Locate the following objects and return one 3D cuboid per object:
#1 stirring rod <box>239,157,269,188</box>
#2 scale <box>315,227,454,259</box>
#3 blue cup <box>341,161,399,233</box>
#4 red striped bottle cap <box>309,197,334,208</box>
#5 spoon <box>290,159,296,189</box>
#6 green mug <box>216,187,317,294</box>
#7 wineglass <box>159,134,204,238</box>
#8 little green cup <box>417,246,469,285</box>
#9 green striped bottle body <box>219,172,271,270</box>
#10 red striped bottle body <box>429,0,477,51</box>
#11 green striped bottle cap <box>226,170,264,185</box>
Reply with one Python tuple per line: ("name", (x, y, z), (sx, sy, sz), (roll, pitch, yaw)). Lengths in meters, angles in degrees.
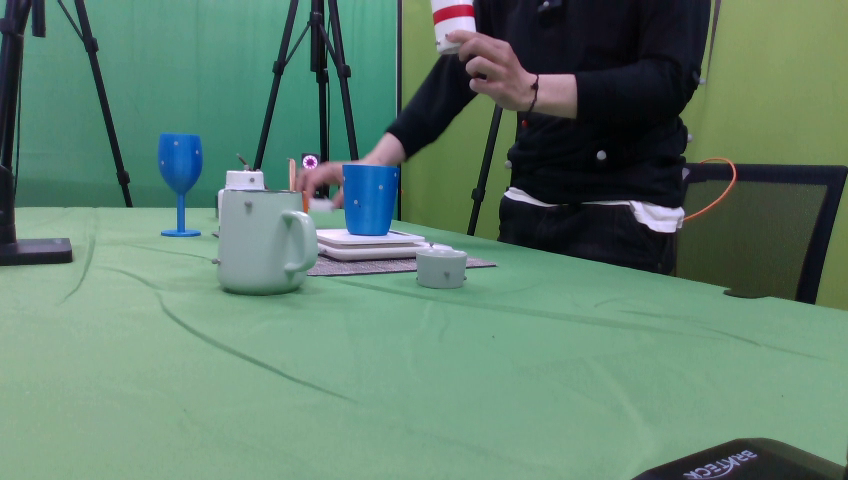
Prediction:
("stirring rod", (-0.309, -0.098, 1.209), (0.006, 0.177, 0.014), (-39, 29, -4))
("scale", (-0.066, 0.001, 0.906), (0.202, 0.031, 0.148), (-2, 8, -31))
("blue cup", (-0.080, -0.062, 0.884), (0.093, 0.100, 0.092), (2, 4, 0))
("red striped bottle cap", (-0.186, -0.068, 1.091), (0.044, 0.017, 0.044), (-2, 3, 0))
("spoon", (-0.273, -0.102, 1.252), (0.042, 0.193, 0.021), (8, -39, -18))
("green mug", (-0.157, 0.000, 0.629), (0.124, 0.105, 0.093), (7, 9, 37))
("wineglass", (-0.415, -0.093, 1.040), (0.074, 0.172, 0.073), (2, 7, 0))
("little green cup", (0.021, 0.029, 0.701), (0.061, 0.038, 0.061), (1, 6, 0))
("green striped bottle body", (-0.223, -0.025, 0.755), (0.063, 0.119, 0.063), (2, 7, 0))
("red striped bottle body", (0.040, -0.350, 0.906), (0.063, 0.119, 0.063), (-10, 7, 1))
("green striped bottle cap", (-0.222, -0.077, 0.748), (0.044, 0.020, 0.044), (1, 7, 0))
